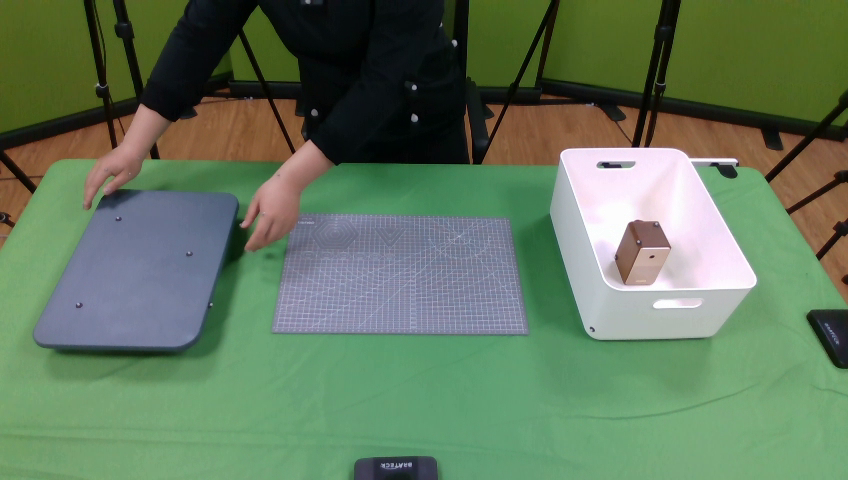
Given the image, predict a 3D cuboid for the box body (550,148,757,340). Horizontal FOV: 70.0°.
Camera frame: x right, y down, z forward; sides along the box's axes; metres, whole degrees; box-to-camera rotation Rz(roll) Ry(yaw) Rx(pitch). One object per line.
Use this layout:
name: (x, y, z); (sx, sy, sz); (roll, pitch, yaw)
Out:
box body: (0.395, 0.003, 1.127); (0.254, 0.161, 0.361); (-1, 46, -5)

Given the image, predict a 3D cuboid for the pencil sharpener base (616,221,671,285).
pencil sharpener base: (0.408, 0.024, 1.136); (0.061, 0.107, 0.076); (-2, 45, -4)

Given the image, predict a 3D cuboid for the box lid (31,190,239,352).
box lid: (-0.491, 0.040, 1.070); (0.263, 0.015, 0.369); (1, 46, -3)

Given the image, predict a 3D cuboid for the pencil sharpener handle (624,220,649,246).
pencil sharpener handle: (0.402, -0.020, 1.163); (0.036, 0.068, 0.030); (5, 44, -10)
